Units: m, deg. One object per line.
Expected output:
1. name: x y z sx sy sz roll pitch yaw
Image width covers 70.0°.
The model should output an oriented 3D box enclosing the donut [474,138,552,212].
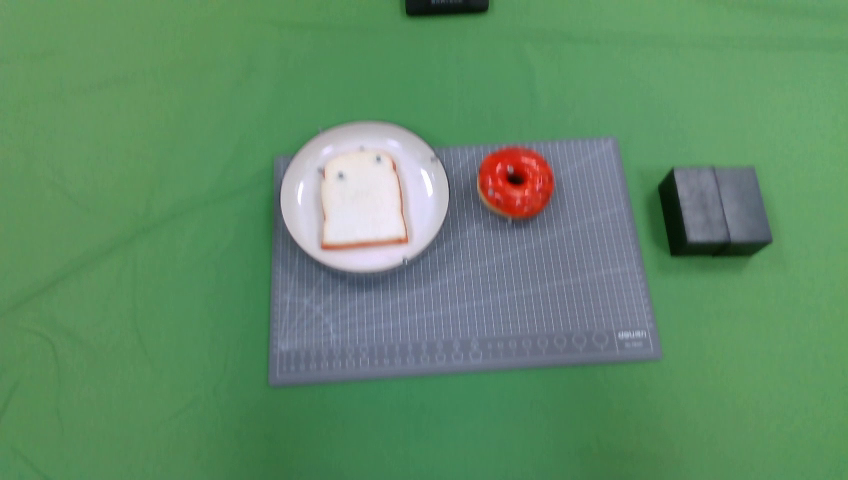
1. donut: 0.110 -0.081 0.751 0.099 0.048 0.098 1 70 -3

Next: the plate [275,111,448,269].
1. plate: -0.075 -0.060 0.744 0.209 0.038 0.207 1 70 -1

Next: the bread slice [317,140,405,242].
1. bread slice: -0.083 -0.063 0.746 0.105 0.019 0.130 -6 71 -4
